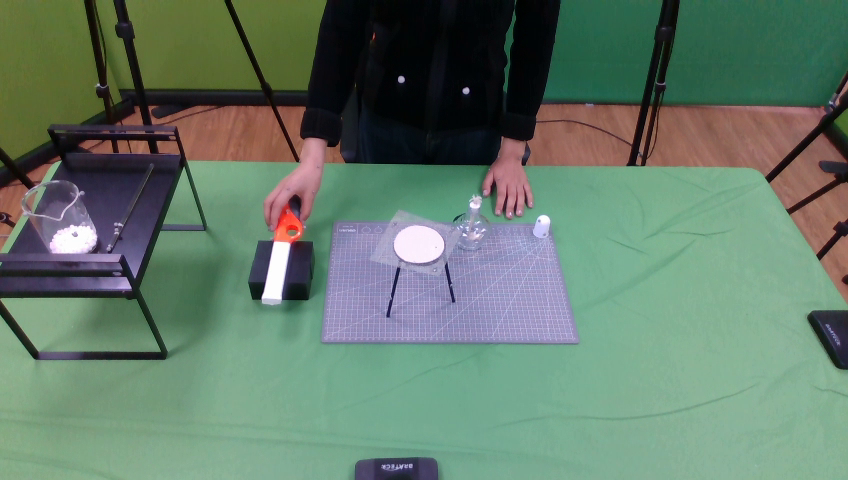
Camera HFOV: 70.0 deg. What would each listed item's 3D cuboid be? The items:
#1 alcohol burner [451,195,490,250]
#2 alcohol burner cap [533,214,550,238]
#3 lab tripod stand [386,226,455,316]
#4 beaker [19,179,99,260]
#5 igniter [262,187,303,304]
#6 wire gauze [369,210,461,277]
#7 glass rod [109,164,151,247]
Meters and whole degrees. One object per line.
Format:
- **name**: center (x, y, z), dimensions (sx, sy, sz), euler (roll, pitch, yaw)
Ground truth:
- **alcohol burner**: center (0.092, -0.038, 1.175), dimensions (0.078, 0.120, 0.077), euler (2, 44, -2)
- **alcohol burner cap**: center (0.240, -0.031, 1.228), dimensions (0.034, 0.048, 0.033), euler (1, 46, -1)
- **lab tripod stand**: center (-0.014, 0.054, 1.064), dimensions (0.148, 0.132, 0.147), euler (2, 48, -2)
- **beaker**: center (-0.522, -0.024, 0.878), dimensions (0.074, 0.101, 0.083), euler (-26, 54, -25)
- **igniter**: center (-0.257, 0.000, 1.107), dimensions (0.057, 0.025, 0.275), euler (7, 48, -8)
- **wire gauze**: center (-0.013, 0.005, 1.017), dimensions (0.121, 0.011, 0.124), euler (17, 49, 12)
- **glass rod**: center (-0.473, -0.061, 0.979), dimensions (0.008, 0.008, 0.198), euler (1, 46, -3)
